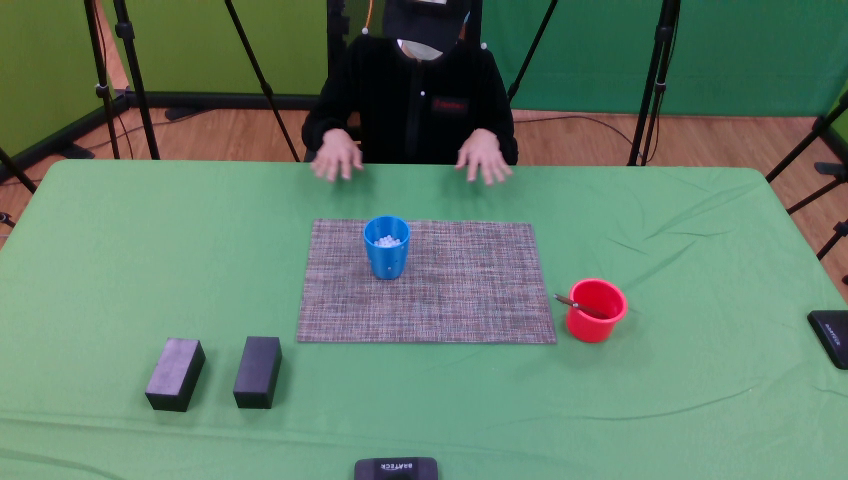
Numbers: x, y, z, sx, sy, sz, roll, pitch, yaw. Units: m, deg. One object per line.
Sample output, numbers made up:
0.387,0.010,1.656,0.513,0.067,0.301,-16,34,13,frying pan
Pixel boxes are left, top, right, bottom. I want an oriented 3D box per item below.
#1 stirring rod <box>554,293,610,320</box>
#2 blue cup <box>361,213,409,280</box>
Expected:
0.271,0.115,1.030,0.177,0.006,0.014,22,26,-43,stirring rod
-0.070,0.020,1.114,0.093,0.101,0.092,1,46,-1,blue cup
